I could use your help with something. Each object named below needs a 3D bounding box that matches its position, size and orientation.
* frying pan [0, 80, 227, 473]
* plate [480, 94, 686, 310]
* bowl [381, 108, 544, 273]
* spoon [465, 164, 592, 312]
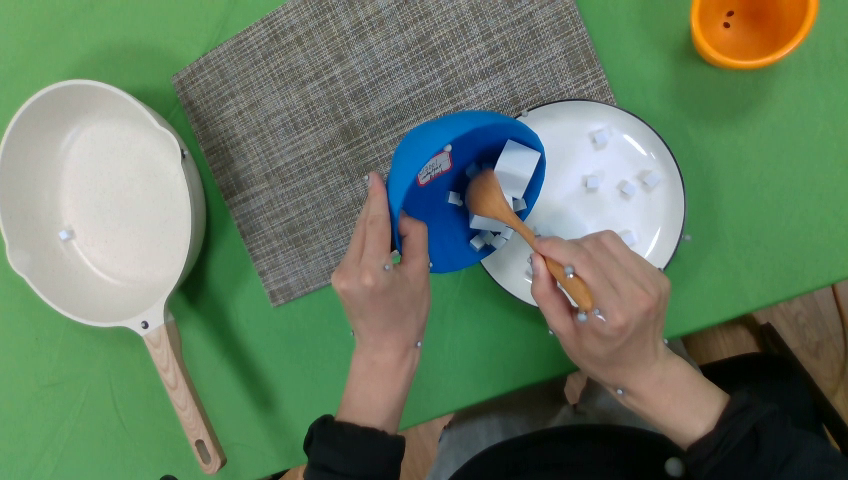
[{"bbox_3d":[-0.347,0.050,0.728,0.306,0.103,0.486,-28,82,20],"label":"frying pan"},{"bbox_3d":[0.143,-0.036,0.594,0.207,0.039,0.208,3,103,16],"label":"plate"},{"bbox_3d":[0.020,-0.054,0.518,0.151,0.153,0.076,-56,50,18],"label":"bowl"},{"bbox_3d":[0.074,-0.007,0.455,0.042,0.022,0.191,-61,36,19],"label":"spoon"}]
